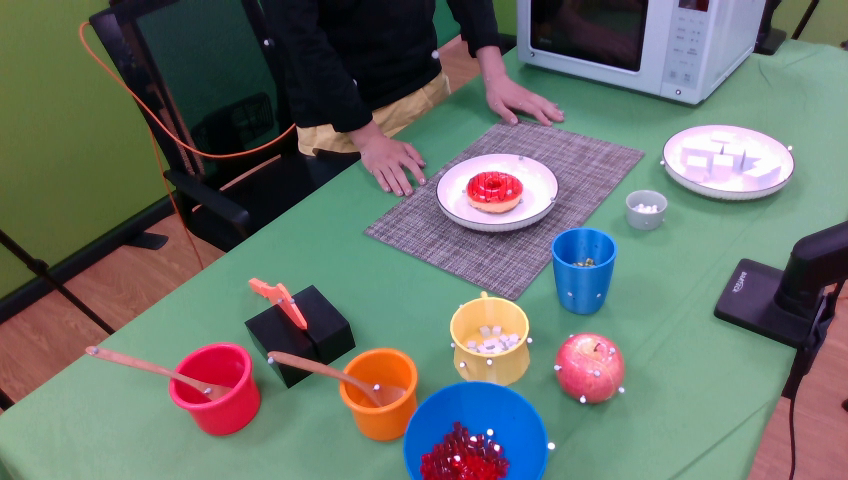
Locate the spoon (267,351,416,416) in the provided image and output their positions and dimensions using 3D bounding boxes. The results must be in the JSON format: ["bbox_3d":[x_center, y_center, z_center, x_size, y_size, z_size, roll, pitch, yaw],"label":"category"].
[{"bbox_3d":[-0.091,0.162,0.699,0.021,0.195,0.041,-45,30,27],"label":"spoon"}]

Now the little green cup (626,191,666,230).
[{"bbox_3d":[0.352,-0.046,0.963,0.061,0.039,0.061,-4,40,4],"label":"little green cup"}]

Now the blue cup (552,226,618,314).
[{"bbox_3d":[0.218,0.047,0.826,0.092,0.101,0.092,-6,40,5],"label":"blue cup"}]

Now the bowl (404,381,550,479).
[{"bbox_3d":[0.058,0.235,0.645,0.151,0.077,0.150,-4,39,4],"label":"bowl"}]

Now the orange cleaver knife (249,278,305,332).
[{"bbox_3d":[-0.210,0.089,0.855,0.012,0.077,0.210,-28,15,-25],"label":"orange cleaver knife"}]

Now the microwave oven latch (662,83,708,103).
[{"bbox_3d":[0.517,-0.296,1.204,0.078,0.029,0.030,28,52,35],"label":"microwave oven latch"}]

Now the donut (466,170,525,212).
[{"bbox_3d":[0.120,-0.083,1.019,0.099,0.048,0.098,-4,39,3],"label":"donut"}]

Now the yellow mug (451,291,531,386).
[{"bbox_3d":[0.086,0.120,0.786,0.100,0.064,0.130,-7,39,1],"label":"yellow mug"}]

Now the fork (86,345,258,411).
[{"bbox_3d":[-0.298,0.167,0.728,0.209,0.018,0.028,28,47,-23],"label":"fork"}]

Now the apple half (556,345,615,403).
[{"bbox_3d":[0.181,0.166,0.709,0.080,0.081,0.033,29,50,35],"label":"apple half"}]

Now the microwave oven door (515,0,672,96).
[{"bbox_3d":[0.343,-0.454,1.259,0.353,0.245,0.039,26,51,33],"label":"microwave oven door"}]

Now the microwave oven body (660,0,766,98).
[{"bbox_3d":[0.472,-0.513,1.317,0.438,0.261,0.327,26,51,34],"label":"microwave oven body"}]

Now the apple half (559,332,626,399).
[{"bbox_3d":[0.209,0.147,0.730,0.080,0.075,0.053,26,48,38],"label":"apple half"}]

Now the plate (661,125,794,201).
[{"bbox_3d":[0.513,-0.128,1.035,0.207,0.039,0.206,-4,40,4],"label":"plate"}]

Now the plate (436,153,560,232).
[{"bbox_3d":[0.125,-0.078,1.029,0.209,0.038,0.208,-4,40,4],"label":"plate"}]
